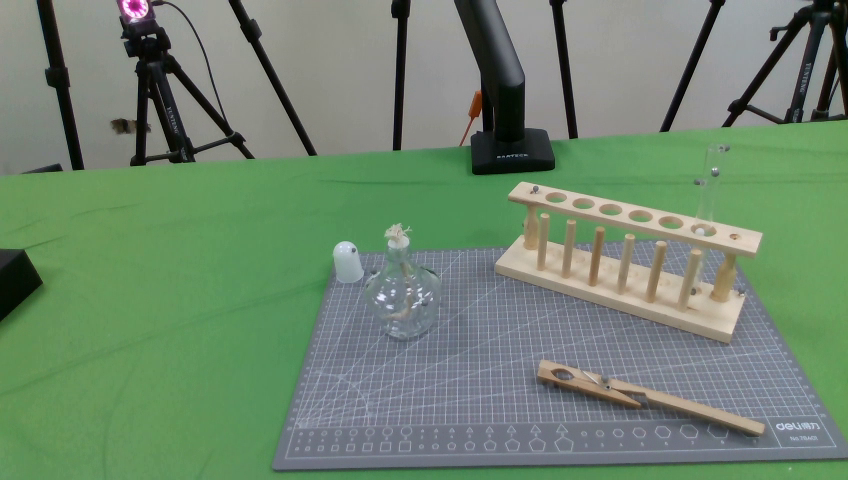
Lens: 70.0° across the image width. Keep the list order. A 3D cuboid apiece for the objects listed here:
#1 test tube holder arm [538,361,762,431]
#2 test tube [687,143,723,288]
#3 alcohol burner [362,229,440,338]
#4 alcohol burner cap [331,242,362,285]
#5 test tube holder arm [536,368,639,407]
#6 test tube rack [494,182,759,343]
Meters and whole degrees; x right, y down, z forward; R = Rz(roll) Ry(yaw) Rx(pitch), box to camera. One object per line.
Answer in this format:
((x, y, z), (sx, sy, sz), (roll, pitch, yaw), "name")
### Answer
((0.183, 0.129, 0.506), (0.177, 0.015, 0.013), (10, 71, 21), "test tube holder arm")
((0.258, -0.018, 0.564), (0.017, 0.151, 0.017), (-4, 31, 3), "test tube")
((-0.024, 0.038, 0.590), (0.078, 0.120, 0.077), (-3, 36, 2), "alcohol burner")
((-0.089, 0.024, 0.685), (0.034, 0.048, 0.033), (-3, 35, 3), "alcohol burner cap")
((0.140, 0.126, 0.521), (0.087, 0.015, 0.010), (11, 71, 22), "test tube holder arm")
((0.192, 0.016, 0.614), (0.240, 0.086, 0.066), (16, 40, 30), "test tube rack")
